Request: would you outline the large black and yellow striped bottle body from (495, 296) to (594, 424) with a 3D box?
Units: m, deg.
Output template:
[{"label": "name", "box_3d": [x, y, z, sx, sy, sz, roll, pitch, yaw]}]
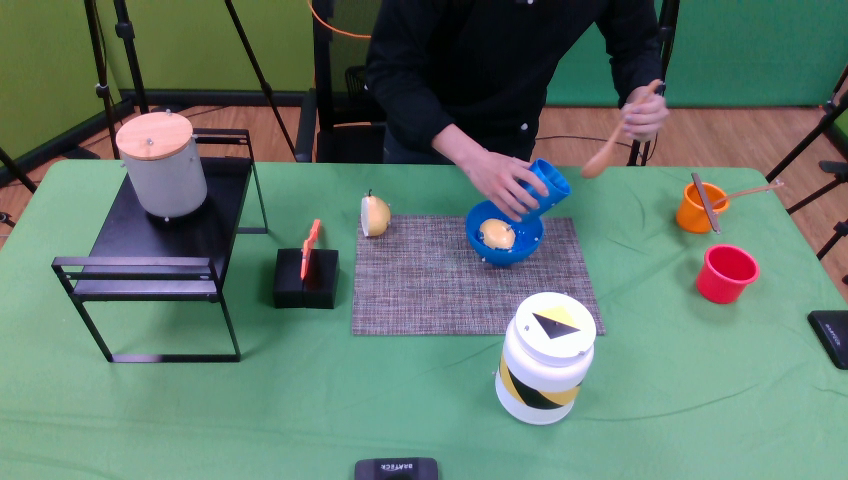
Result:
[{"label": "large black and yellow striped bottle body", "box_3d": [0.183, 0.182, 0.923, 0.131, 0.185, 0.130, 2, 46, -2]}]

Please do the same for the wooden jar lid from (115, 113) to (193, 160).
[{"label": "wooden jar lid", "box_3d": [-0.399, -0.151, 0.900, 0.108, 0.021, 0.107, 3, 46, -3]}]

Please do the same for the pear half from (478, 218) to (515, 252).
[{"label": "pear half", "box_3d": [0.145, -0.013, 1.166, 0.070, 0.031, 0.087, -21, 57, -20]}]

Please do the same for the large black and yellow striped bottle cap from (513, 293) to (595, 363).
[{"label": "large black and yellow striped bottle cap", "box_3d": [0.186, 0.123, 0.863, 0.115, 0.019, 0.114, 3, 45, -3]}]

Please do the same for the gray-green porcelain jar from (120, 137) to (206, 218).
[{"label": "gray-green porcelain jar", "box_3d": [-0.403, -0.106, 0.946, 0.106, 0.127, 0.105, 3, 46, -2]}]

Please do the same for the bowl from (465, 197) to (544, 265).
[{"label": "bowl", "box_3d": [0.149, -0.004, 1.167, 0.151, 0.077, 0.150, 2, 46, -2]}]

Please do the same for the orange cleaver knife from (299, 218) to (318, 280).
[{"label": "orange cleaver knife", "box_3d": [-0.214, 0.013, 1.125, 0.012, 0.077, 0.210, 6, 17, -5]}]

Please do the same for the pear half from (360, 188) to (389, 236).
[{"label": "pear half", "box_3d": [-0.096, -0.060, 1.181, 0.056, 0.110, 0.076, -13, 52, -17]}]

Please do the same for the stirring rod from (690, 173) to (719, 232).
[{"label": "stirring rod", "box_3d": [0.566, -0.080, 1.225, 0.014, 0.006, 0.175, 2, 46, 2]}]

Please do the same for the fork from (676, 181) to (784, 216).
[{"label": "fork", "box_3d": [0.618, -0.084, 1.235, 0.207, 0.019, 0.028, -23, 21, 38]}]

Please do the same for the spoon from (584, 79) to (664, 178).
[{"label": "spoon", "box_3d": [0.326, -0.180, 0.993, 0.042, 0.194, 0.021, 14, 27, -34]}]

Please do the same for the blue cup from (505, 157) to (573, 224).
[{"label": "blue cup", "box_3d": [0.196, -0.081, 1.072, 0.093, 0.100, 0.092, 28, 35, -22]}]
